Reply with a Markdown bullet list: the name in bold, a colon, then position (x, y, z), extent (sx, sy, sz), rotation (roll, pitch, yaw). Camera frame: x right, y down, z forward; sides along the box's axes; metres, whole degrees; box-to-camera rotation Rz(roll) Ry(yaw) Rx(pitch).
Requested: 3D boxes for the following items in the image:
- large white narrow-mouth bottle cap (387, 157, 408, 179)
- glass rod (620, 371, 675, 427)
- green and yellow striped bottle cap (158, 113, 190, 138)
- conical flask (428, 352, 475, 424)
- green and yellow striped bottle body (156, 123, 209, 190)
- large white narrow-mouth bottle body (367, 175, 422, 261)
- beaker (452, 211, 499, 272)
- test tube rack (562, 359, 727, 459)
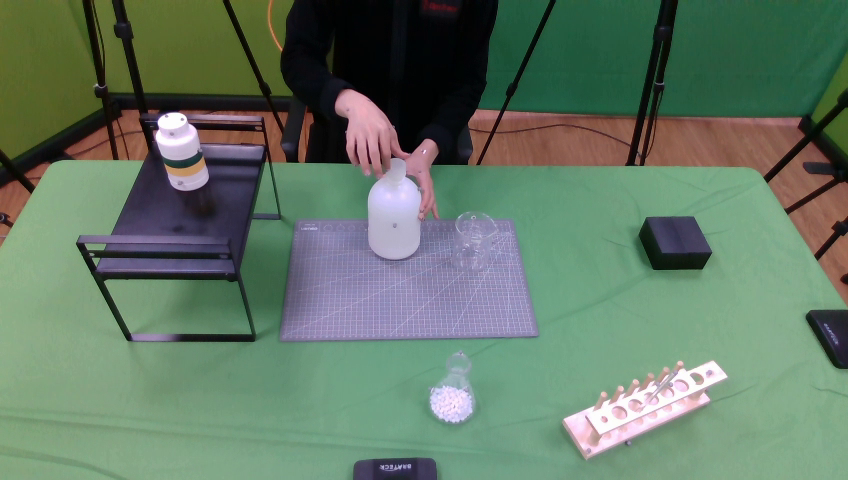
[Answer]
- **large white narrow-mouth bottle cap**: position (-0.047, -0.127, 1.060), extent (0.038, 0.024, 0.037), rotation (3, 45, -3)
- **glass rod**: position (0.316, 0.230, 0.863), extent (0.008, 0.200, 0.008), rotation (3, 54, -3)
- **green and yellow striped bottle cap**: position (-0.393, -0.180, 0.951), extent (0.045, 0.020, 0.045), rotation (2, 44, -2)
- **conical flask**: position (0.046, 0.220, 0.920), extent (0.075, 0.122, 0.075), rotation (2, 46, -2)
- **green and yellow striped bottle body**: position (-0.395, -0.145, 0.989), extent (0.063, 0.120, 0.063), rotation (2, 46, -2)
- **large white narrow-mouth bottle body**: position (-0.055, -0.058, 1.128), extent (0.102, 0.195, 0.101), rotation (3, 45, -3)
- **beaker**: position (0.093, 0.006, 1.141), extent (0.084, 0.101, 0.073), rotation (8, 46, 3)
- **test tube rack**: position (0.341, 0.247, 0.940), extent (0.243, 0.085, 0.066), rotation (-16, 49, -18)
